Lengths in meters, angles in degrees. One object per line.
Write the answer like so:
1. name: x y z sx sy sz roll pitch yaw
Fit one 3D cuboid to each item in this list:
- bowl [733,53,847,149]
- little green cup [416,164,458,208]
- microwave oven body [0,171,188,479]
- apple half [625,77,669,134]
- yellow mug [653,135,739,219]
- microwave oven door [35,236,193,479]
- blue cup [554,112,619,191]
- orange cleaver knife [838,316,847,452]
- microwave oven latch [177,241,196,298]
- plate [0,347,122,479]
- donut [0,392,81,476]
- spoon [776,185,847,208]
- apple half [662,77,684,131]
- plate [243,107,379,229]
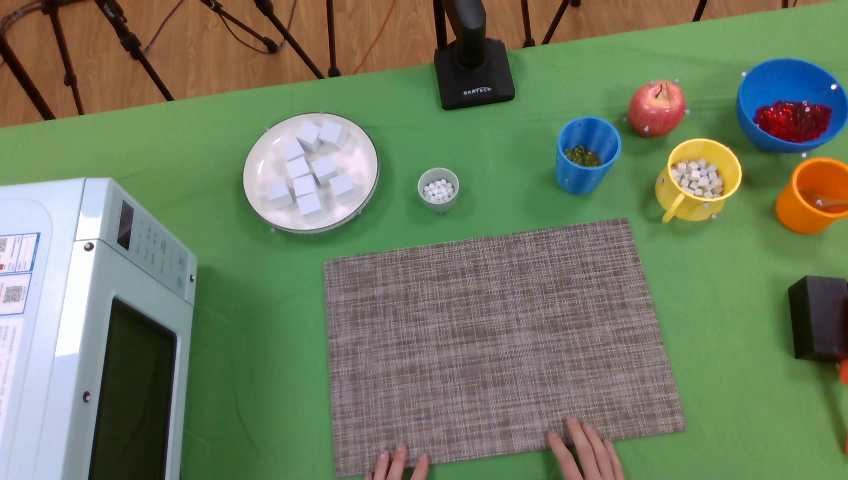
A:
1. bowl: 0.523 -0.189 0.891 0.151 0.077 0.150 -2 68 4
2. little green cup: 0.020 -0.078 0.903 0.061 0.039 0.061 -2 67 4
3. microwave oven body: -0.486 0.180 0.707 0.326 0.262 0.438 -5 68 2
4. apple half: 0.331 -0.200 0.913 0.053 0.075 0.080 -4 70 6
5. yellow mug: 0.377 -0.080 0.863 0.099 0.064 0.130 38 76 18
6. microwave oven door: -0.338 0.203 0.681 0.039 0.245 0.353 -5 67 2
7. blue cup: 0.226 -0.119 0.872 0.092 0.101 0.092 -1 68 3
8. orange cleaver knife: 0.532 0.152 0.746 0.012 0.077 0.211 6 97 9
9. microwave oven latch: -0.343 0.042 0.859 0.030 0.030 0.078 -3 68 2
10. plate: -0.468 0.236 0.738 0.209 0.038 0.207 -1 67 3
11. donut: -0.465 0.233 0.729 0.099 0.048 0.098 0 77 1
12. spoon: 0.560 -0.052 0.793 0.041 0.192 0.022 -48 116 -14
13. apple half: 0.371 -0.203 0.910 0.033 0.082 0.080 -3 67 6
14. plate: -0.170 -0.107 0.929 0.207 0.039 0.206 -1 67 4
